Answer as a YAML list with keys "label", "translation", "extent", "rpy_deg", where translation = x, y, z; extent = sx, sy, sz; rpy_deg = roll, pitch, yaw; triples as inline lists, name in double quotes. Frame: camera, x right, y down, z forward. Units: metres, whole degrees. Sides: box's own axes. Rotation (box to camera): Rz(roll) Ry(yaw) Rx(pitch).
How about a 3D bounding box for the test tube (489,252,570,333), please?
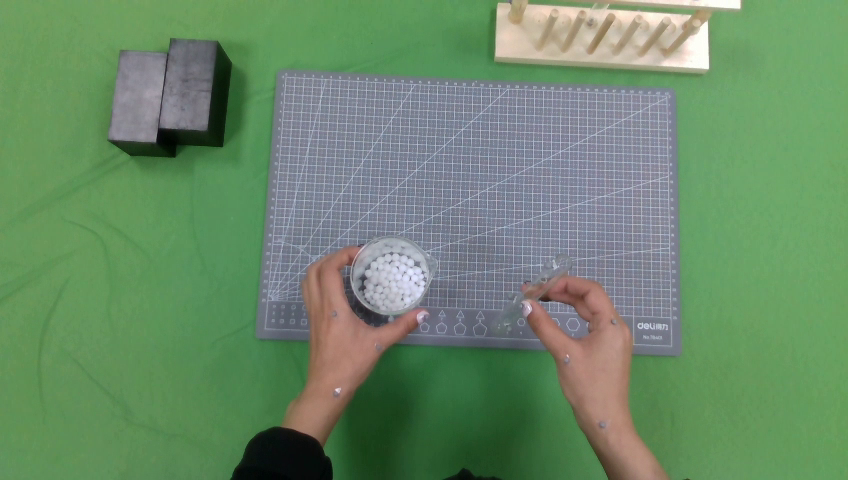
- label: "test tube"
  translation: [0.091, 0.051, 0.547]
  extent: [0.017, 0.151, 0.017]
  rpy_deg: [8, 58, -14]

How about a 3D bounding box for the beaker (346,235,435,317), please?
- label: "beaker"
  translation: [-0.031, 0.039, 0.600]
  extent: [0.084, 0.100, 0.073]
  rpy_deg: [-17, 82, -5]

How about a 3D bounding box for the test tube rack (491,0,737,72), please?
- label: "test tube rack"
  translation: [0.200, -0.239, 0.660]
  extent: [0.242, 0.085, 0.066]
  rpy_deg: [3, 80, -1]

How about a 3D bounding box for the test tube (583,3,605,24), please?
- label: "test tube"
  translation: [0.191, -0.265, 0.614]
  extent: [0.017, 0.150, 0.017]
  rpy_deg: [1, 78, -4]
